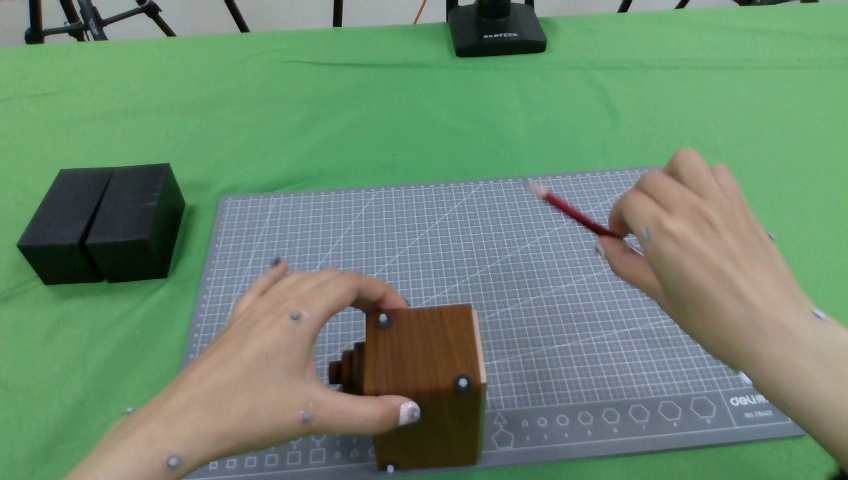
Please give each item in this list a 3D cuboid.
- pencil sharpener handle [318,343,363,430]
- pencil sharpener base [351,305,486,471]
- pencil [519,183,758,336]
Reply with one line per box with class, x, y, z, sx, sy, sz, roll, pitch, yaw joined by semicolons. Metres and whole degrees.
pencil sharpener handle;-0.054;0.095;0.377;0.030;0.068;0.035;-4;35;-1
pencil sharpener base;-0.003;0.098;0.390;0.077;0.108;0.060;-4;46;-1
pencil;0.146;0.013;0.411;0.194;0.012;0.012;32;49;-5
